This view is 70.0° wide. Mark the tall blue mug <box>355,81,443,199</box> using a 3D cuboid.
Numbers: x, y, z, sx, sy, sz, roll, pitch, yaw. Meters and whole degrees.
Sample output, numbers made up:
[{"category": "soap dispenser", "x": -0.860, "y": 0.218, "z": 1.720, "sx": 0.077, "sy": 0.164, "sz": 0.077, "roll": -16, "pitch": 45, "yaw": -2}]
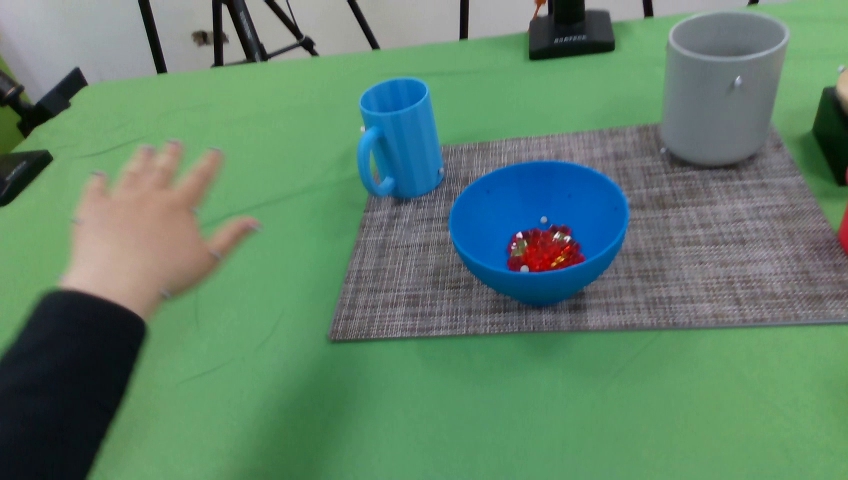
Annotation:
[{"category": "tall blue mug", "x": -0.026, "y": -0.100, "z": 0.664, "sx": 0.077, "sy": 0.109, "sz": 0.106, "roll": -3, "pitch": 42, "yaw": 11}]

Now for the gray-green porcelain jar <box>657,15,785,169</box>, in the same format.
[{"category": "gray-green porcelain jar", "x": 0.295, "y": -0.145, "z": 0.615, "sx": 0.106, "sy": 0.128, "sz": 0.105, "roll": -8, "pitch": 41, "yaw": 7}]

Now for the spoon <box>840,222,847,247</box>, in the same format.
[{"category": "spoon", "x": 0.421, "y": -0.057, "z": 0.473, "sx": 0.022, "sy": 0.194, "sz": 0.041, "roll": 29, "pitch": 31, "yaw": -20}]

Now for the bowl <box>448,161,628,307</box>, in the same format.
[{"category": "bowl", "x": 0.100, "y": 0.005, "z": 0.535, "sx": 0.151, "sy": 0.077, "sz": 0.150, "roll": -7, "pitch": 41, "yaw": 7}]

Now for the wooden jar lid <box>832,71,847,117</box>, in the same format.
[{"category": "wooden jar lid", "x": 0.447, "y": -0.134, "z": 0.572, "sx": 0.108, "sy": 0.021, "sz": 0.107, "roll": -8, "pitch": 41, "yaw": 8}]
